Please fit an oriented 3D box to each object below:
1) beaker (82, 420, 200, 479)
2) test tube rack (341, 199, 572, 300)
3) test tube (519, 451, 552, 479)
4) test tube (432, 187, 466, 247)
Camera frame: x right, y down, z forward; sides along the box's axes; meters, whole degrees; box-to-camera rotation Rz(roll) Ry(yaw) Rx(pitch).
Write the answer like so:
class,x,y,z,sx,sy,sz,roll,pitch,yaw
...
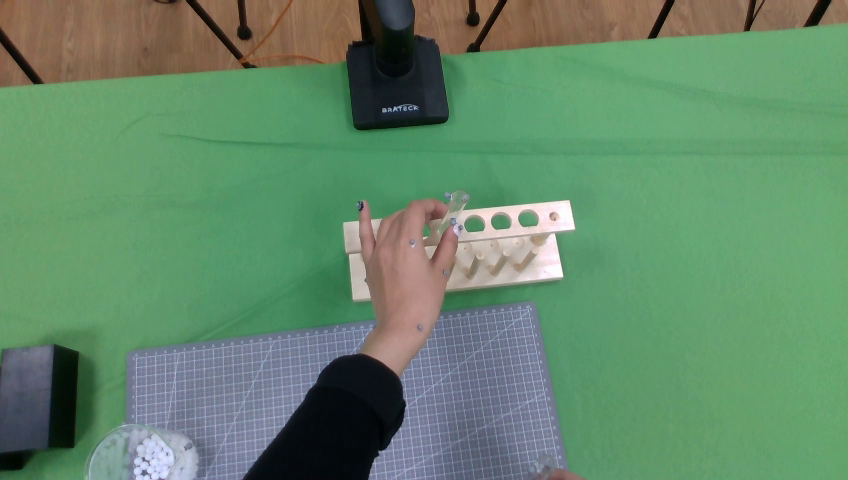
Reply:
class,x,y,z,sx,sy,sz,roll,pitch,yaw
beaker,-0.258,0.210,0.574,0.084,0.101,0.073,-13,73,-8
test tube rack,0.036,0.012,0.667,0.243,0.085,0.066,-6,72,-5
test tube,0.094,0.218,0.546,0.017,0.152,0.017,1,55,-1
test tube,0.022,-0.019,0.615,0.017,0.151,0.017,2,73,-6
